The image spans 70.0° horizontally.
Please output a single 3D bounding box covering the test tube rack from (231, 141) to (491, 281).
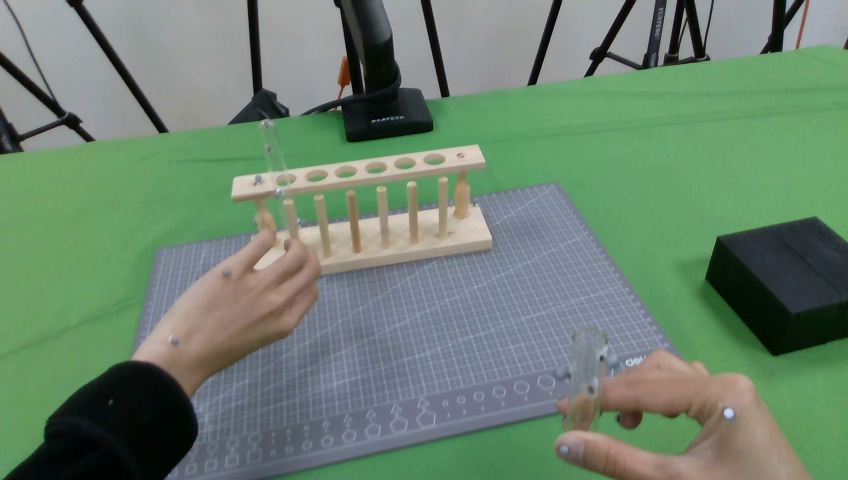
[{"bbox_3d":[-0.058,-0.030,0.601,0.243,0.086,0.066,-9,39,-6],"label":"test tube rack"}]

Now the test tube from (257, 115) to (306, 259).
[{"bbox_3d":[-0.129,-0.044,0.552,0.017,0.152,0.017,-3,38,2],"label":"test tube"}]

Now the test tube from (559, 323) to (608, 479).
[{"bbox_3d":[0.078,0.102,0.308,0.017,0.151,0.017,-3,35,3],"label":"test tube"}]
